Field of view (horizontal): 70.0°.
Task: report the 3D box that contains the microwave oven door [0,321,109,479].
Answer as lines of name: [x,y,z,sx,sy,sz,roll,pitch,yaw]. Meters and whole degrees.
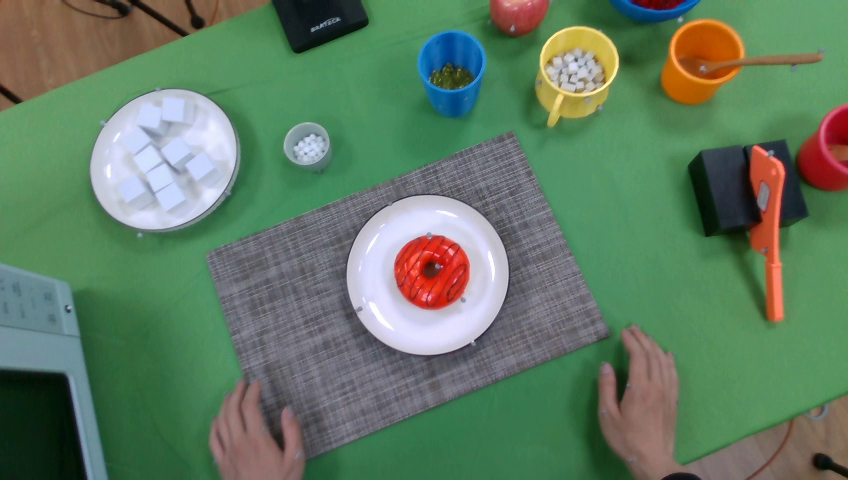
microwave oven door: [-0.417,0.257,0.633,0.039,0.245,0.353,-19,76,0]

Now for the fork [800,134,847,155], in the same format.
fork: [0.552,-0.106,0.705,0.028,0.019,0.205,-49,35,-18]

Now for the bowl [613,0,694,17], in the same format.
bowl: [0.306,-0.359,0.817,0.151,0.077,0.150,-1,78,5]

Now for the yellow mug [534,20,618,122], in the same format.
yellow mug: [0.192,-0.215,0.800,0.099,0.064,0.130,25,81,10]

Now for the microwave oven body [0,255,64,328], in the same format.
microwave oven body: [-0.568,0.266,0.648,0.326,0.261,0.439,-19,77,0]

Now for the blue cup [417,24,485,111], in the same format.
blue cup: [0.037,-0.217,0.796,0.092,0.100,0.092,-1,78,3]

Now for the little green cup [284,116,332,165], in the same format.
little green cup: [-0.156,-0.132,0.824,0.061,0.039,0.061,-1,77,5]

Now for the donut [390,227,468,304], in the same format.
donut: [0.007,0.032,0.757,0.099,0.048,0.098,-1,78,6]

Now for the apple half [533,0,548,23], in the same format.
apple half: [0.153,-0.338,0.826,0.033,0.082,0.081,-16,76,4]

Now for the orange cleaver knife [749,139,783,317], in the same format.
orange cleaver knife: [0.408,-0.013,0.728,0.012,0.077,0.212,-7,106,5]

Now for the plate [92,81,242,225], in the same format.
plate: [-0.349,-0.117,0.836,0.207,0.039,0.206,-1,77,5]

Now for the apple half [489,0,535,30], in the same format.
apple half: [0.116,-0.327,0.829,0.053,0.075,0.080,-17,79,4]

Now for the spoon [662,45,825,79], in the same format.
spoon: [0.383,-0.223,0.744,0.022,0.192,0.041,33,78,-33]

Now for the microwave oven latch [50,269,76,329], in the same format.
microwave oven latch: [-0.475,0.079,0.782,0.030,0.029,0.078,-17,77,0]

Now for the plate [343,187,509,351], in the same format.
plate: [0.003,0.037,0.768,0.209,0.038,0.208,-1,77,5]
